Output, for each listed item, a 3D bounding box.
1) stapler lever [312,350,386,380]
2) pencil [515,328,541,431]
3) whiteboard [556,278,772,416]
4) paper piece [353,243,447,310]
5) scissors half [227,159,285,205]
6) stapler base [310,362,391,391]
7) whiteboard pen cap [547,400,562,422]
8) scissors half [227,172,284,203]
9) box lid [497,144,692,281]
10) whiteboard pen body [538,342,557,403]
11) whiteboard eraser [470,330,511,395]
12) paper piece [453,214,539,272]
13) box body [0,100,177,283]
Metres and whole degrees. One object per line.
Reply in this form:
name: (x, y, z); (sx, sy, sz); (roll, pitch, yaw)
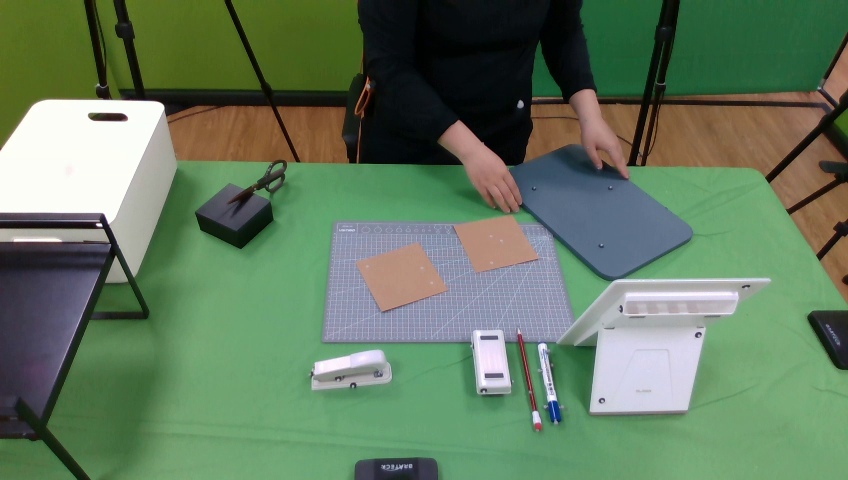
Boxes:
stapler lever: (-0.120, 0.198, 0.963); (0.118, 0.040, 0.026); (-4, 44, -8)
pencil: (0.169, 0.224, 1.002); (0.012, 0.012, 0.192); (-2, 46, -6)
whiteboard: (0.347, 0.174, 0.903); (0.217, 0.306, 0.143); (1, 65, -4)
paper piece: (-0.046, 0.066, 1.137); (0.136, 0.009, 0.137); (-13, 46, -23)
scissors half: (-0.336, -0.117, 1.218); (0.013, 0.040, 0.175); (26, 47, 13)
stapler base: (-0.119, 0.215, 0.980); (0.131, 0.024, 0.041); (-5, 44, -7)
whiteboard pen cap: (0.205, 0.269, 0.956); (0.018, 0.018, 0.033); (0, 47, -5)
scissors half: (-0.340, -0.101, 1.230); (0.013, 0.040, 0.175); (22, 28, 17)
box lid: (0.360, -0.074, 1.305); (0.263, 0.015, 0.369); (-24, 52, -25)
whiteboard pen body: (0.205, 0.228, 0.997); (0.017, 0.017, 0.140); (1, 46, -3)
whiteboard eraser: (0.110, 0.202, 0.998); (0.055, 0.042, 0.112); (1, 46, -5)
paper piece: (0.142, 0.003, 1.213); (0.135, 0.004, 0.135); (-11, 48, -14)
box body: (-0.639, -0.095, 1.140); (0.254, 0.161, 0.361); (1, 46, -4)
